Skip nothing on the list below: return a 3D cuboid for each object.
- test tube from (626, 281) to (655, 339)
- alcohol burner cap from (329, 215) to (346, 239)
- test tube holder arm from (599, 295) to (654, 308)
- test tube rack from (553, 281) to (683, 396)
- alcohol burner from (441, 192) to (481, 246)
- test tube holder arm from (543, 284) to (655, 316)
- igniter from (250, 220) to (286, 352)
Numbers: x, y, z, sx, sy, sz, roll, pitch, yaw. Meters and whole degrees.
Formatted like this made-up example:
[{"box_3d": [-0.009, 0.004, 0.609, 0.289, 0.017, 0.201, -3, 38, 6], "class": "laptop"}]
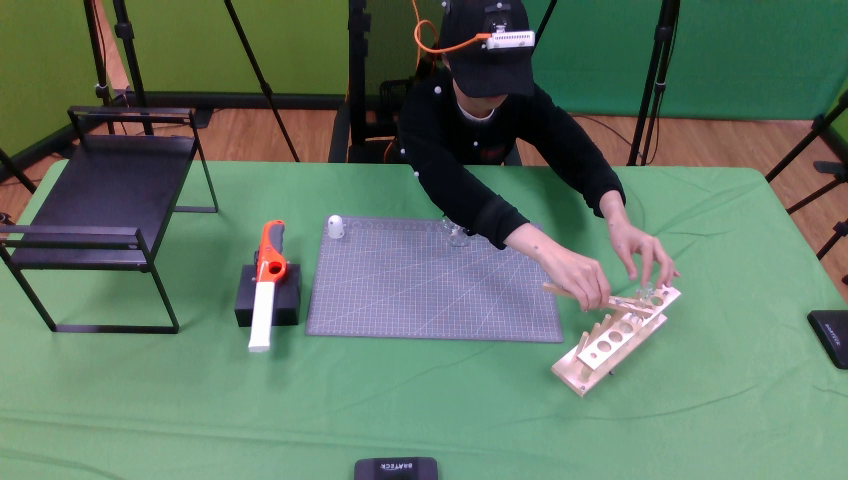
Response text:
[{"box_3d": [0.349, 0.117, 0.984, 0.017, 0.151, 0.017, -1, 49, 2], "class": "test tube"}, {"box_3d": [-0.172, -0.028, 1.192, 0.034, 0.048, 0.033, 1, 47, -1], "class": "alcohol burner cap"}, {"box_3d": [0.325, 0.100, 0.976, 0.088, 0.015, 0.010, 7, 43, -3], "class": "test tube holder arm"}, {"box_3d": [0.329, 0.153, 1.022, 0.242, 0.085, 0.066, -30, 55, -28], "class": "test tube rack"}, {"box_3d": [0.074, -0.046, 1.175, 0.078, 0.119, 0.077, 2, 45, -2], "class": "alcohol burner"}, {"box_3d": [0.280, 0.096, 0.973, 0.178, 0.015, 0.013, 12, 42, 2], "class": "test tube holder arm"}, {"box_3d": [-0.269, 0.068, 1.042, 0.057, 0.025, 0.274, 0, 48, -7], "class": "igniter"}]
